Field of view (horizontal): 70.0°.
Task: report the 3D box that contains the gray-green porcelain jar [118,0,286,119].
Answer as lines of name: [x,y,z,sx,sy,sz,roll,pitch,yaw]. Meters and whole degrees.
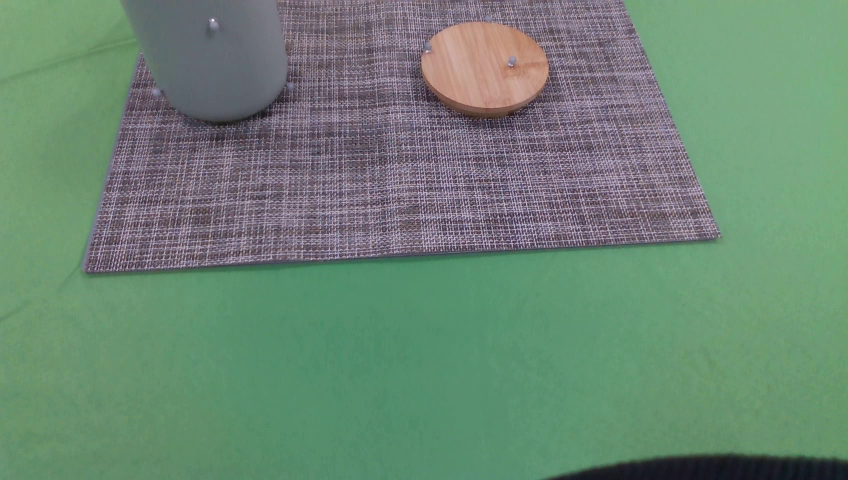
gray-green porcelain jar: [-0.163,-0.165,0.456,0.106,0.127,0.105,1,57,-1]

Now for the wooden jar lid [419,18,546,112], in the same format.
wooden jar lid: [0.049,-0.148,0.519,0.108,0.021,0.107,1,56,-1]
